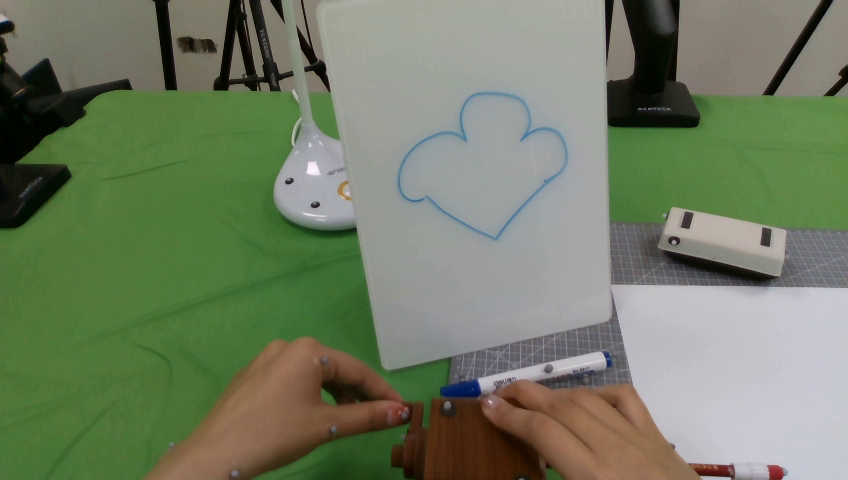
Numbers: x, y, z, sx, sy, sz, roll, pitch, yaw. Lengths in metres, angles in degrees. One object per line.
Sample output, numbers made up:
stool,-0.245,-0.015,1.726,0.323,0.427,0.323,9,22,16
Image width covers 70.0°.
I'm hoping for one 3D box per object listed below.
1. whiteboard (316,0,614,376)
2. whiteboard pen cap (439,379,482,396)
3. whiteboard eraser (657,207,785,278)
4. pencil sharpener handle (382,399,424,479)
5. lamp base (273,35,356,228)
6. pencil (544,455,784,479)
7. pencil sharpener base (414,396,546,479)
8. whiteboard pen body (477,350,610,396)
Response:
whiteboard,0.037,-0.066,0.551,0.217,0.307,0.142,-11,21,-8
whiteboard pen cap,0.030,0.124,0.493,0.033,0.018,0.018,-12,40,-8
whiteboard eraser,0.295,0.003,0.605,0.112,0.042,0.055,15,44,21
pencil sharpener handle,-0.016,0.128,0.393,0.030,0.036,0.067,0,24,5
lamp base,-0.115,-0.131,0.693,0.160,0.182,0.177,-31,44,-29
pencil,0.117,0.137,0.368,0.194,0.012,0.012,1,40,3
pencil sharpener base,0.035,0.156,0.393,0.076,0.108,0.061,0,40,5
whiteboard pen body,0.087,0.112,0.501,0.141,0.017,0.017,-11,40,-8
